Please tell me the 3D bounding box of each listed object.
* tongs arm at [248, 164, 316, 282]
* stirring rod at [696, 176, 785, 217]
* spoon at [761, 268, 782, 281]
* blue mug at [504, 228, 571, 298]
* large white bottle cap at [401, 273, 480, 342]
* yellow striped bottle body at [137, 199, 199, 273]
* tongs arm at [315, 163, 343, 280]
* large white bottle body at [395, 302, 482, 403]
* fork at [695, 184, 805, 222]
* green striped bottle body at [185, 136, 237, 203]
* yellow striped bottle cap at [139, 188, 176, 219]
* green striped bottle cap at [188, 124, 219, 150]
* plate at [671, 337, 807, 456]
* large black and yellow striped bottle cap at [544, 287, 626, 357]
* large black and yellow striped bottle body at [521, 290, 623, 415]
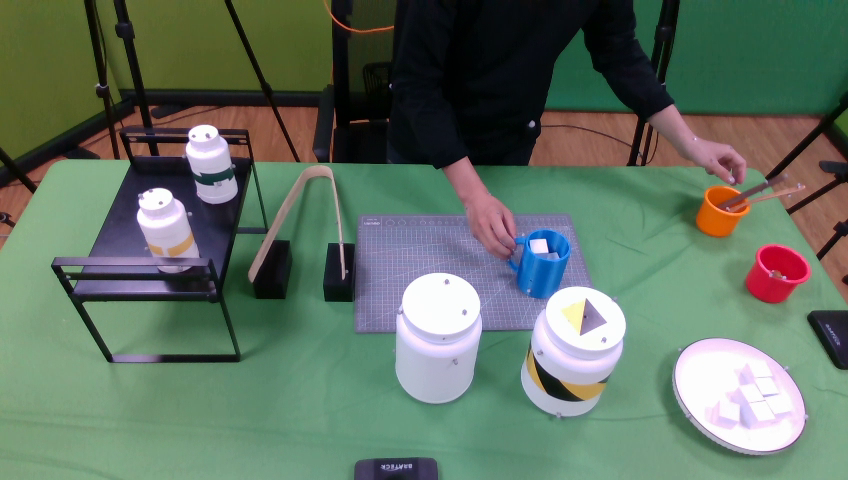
[{"bbox_3d":[-0.269,-0.048,1.165,0.028,0.028,0.385,0,34,7],"label":"tongs arm"},{"bbox_3d":[0.647,-0.088,1.245,0.176,0.006,0.014,-27,52,28],"label":"stirring rod"},{"bbox_3d":[0.638,0.060,1.105,0.041,0.021,0.194,38,11,24],"label":"spoon"},{"bbox_3d":[0.202,0.037,1.116,0.116,0.106,0.082,21,49,16],"label":"blue mug"},{"bbox_3d":[0.024,0.095,0.878,0.115,0.018,0.114,2,47,-2],"label":"large white bottle cap"},{"bbox_3d":[-0.366,-0.014,0.863,0.063,0.121,0.062,2,46,-2],"label":"yellow striped bottle body"},{"bbox_3d":[-0.187,-0.049,1.170,0.051,0.026,0.382,-5,35,-6],"label":"tongs arm"},{"bbox_3d":[0.020,0.153,0.939,0.131,0.185,0.130,2,46,-2],"label":"large white bottle body"},{"bbox_3d":[0.657,-0.075,1.230,0.207,0.019,0.028,-24,33,36],"label":"fork"},{"bbox_3d":[-0.341,-0.121,0.969,0.063,0.120,0.063,2,46,-2],"label":"green striped bottle body"},{"bbox_3d":[-0.363,-0.050,0.826,0.044,0.019,0.044,1,47,0],"label":"yellow striped bottle cap"},{"bbox_3d":[-0.339,-0.158,0.931,0.044,0.020,0.044,3,46,-3],"label":"green striped bottle cap"},{"bbox_3d":[0.503,0.254,0.984,0.208,0.039,0.206,2,46,-2],"label":"plate"},{"bbox_3d":[0.232,0.116,0.876,0.115,0.019,0.114,2,46,-1],"label":"large black and yellow striped bottle cap"},{"bbox_3d":[0.228,0.173,0.938,0.131,0.185,0.130,2,47,-2],"label":"large black and yellow striped bottle body"}]
